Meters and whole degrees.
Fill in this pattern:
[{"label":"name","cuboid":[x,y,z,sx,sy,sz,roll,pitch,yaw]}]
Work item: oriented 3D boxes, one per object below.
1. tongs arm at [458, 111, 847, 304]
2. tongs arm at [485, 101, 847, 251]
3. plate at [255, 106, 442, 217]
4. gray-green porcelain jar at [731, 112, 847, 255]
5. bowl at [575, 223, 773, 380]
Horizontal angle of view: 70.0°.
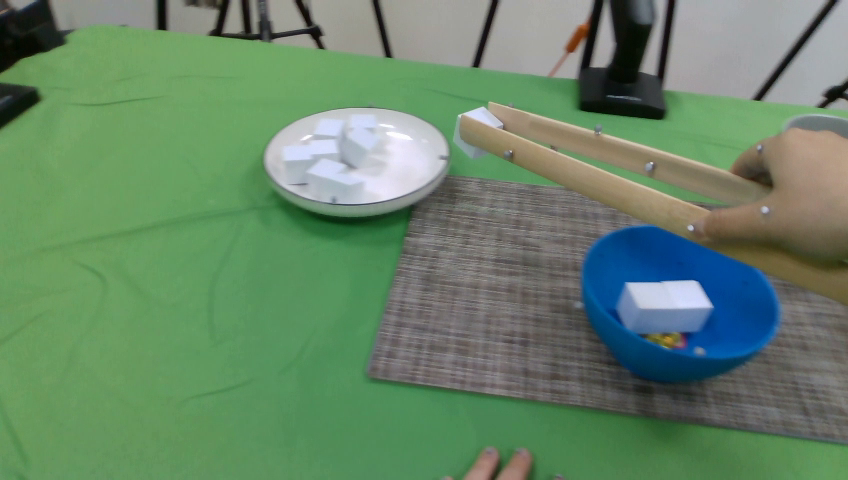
[{"label":"tongs arm","cuboid":[0.160,-0.029,0.423,0.028,0.028,0.383,-25,40,-34]},{"label":"tongs arm","cuboid":[0.178,-0.039,0.436,0.381,0.027,0.051,27,44,37]},{"label":"plate","cuboid":[-0.084,-0.088,0.690,0.209,0.038,0.207,1,40,-1]},{"label":"gray-green porcelain jar","cuboid":[0.376,-0.046,0.603,0.106,0.127,0.105,2,41,-1]},{"label":"bowl","cuboid":[0.194,0.062,0.501,0.151,0.077,0.150,2,40,-2]}]
